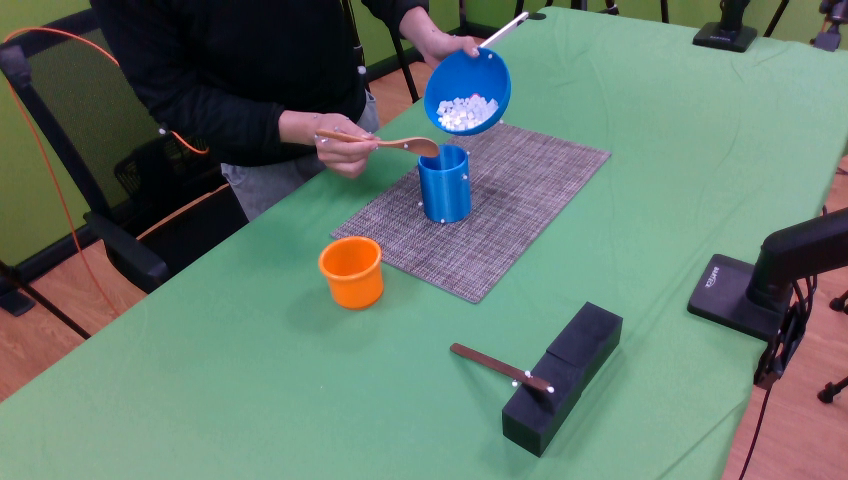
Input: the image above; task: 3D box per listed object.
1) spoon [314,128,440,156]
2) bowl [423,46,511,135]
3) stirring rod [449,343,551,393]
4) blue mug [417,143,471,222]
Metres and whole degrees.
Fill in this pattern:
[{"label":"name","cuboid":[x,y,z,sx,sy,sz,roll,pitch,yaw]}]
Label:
[{"label":"spoon","cuboid":[-0.068,-0.150,0.913,0.195,0.041,0.021,3,64,-22]},{"label":"bowl","cuboid":[0.082,-0.235,1.004,0.150,0.077,0.151,-8,72,24]},{"label":"stirring rod","cuboid":[0.088,0.154,0.741,0.014,0.006,0.174,-39,28,-25]},{"label":"blue mug","cuboid":[0.031,-0.104,1.014,0.082,0.106,0.115,-14,41,-8]}]
